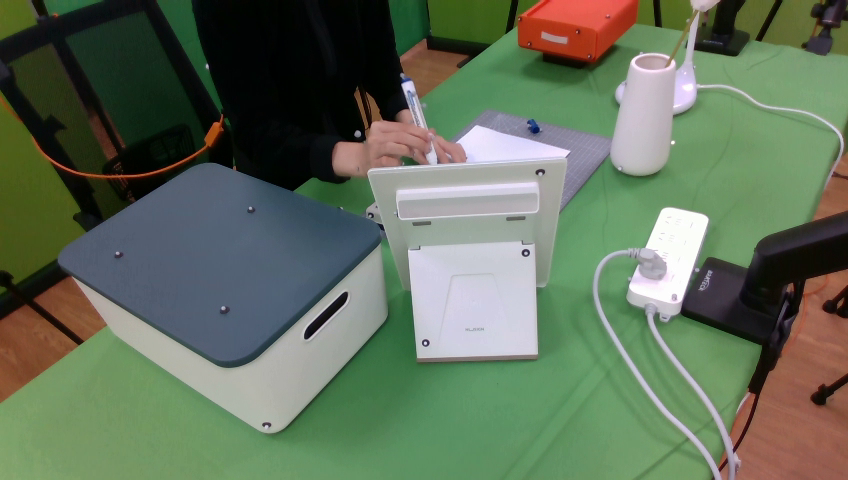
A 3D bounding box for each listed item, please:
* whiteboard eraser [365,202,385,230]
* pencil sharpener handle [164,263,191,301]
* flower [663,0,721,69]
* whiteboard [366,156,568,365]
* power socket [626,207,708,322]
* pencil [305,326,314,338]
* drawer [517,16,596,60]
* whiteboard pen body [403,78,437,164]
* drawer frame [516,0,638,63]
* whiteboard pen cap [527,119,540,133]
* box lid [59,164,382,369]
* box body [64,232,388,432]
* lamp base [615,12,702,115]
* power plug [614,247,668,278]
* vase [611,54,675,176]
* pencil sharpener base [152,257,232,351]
[{"bbox_3d":[-0.038,-0.038,1.006,0.112,0.042,0.055,16,47,25],"label":"whiteboard eraser"},{"bbox_3d":[-0.354,0.055,0.866,0.036,0.068,0.030,-17,39,-29],"label":"pencil sharpener handle"},{"bbox_3d":[0.379,-0.261,0.965,0.044,0.362,0.038,20,53,5],"label":"flower"},{"bbox_3d":[0.059,0.050,0.738,0.217,0.307,0.143,-2,60,6],"label":"whiteboard"},{"bbox_3d":[0.359,0.025,0.886,0.072,0.033,0.227,16,46,26],"label":"power socket"},{"bbox_3d":[-0.187,0.106,0.880,0.012,0.012,0.192,-27,41,-22],"label":"pencil"},{"bbox_3d":[0.353,-0.506,1.405,0.193,0.073,0.212,23,49,32],"label":"drawer"},{"bbox_3d":[-0.002,-0.152,0.824,0.017,0.141,0.017,-18,5,2],"label":"whiteboard pen body"},{"bbox_3d":[0.355,-0.508,1.410,0.200,0.083,0.214,23,51,32],"label":"drawer frame"},{"bbox_3d":[0.221,-0.229,1.212,0.018,0.018,0.033,-13,40,-7],"label":"whiteboard pen cap"},{"bbox_3d":[-0.263,0.010,0.777,0.368,0.015,0.264,20,47,29],"label":"box lid"},{"bbox_3d":[-0.256,0.065,0.827,0.361,0.161,0.255,20,48,29],"label":"box body"},{"bbox_3d":[0.484,-0.364,1.211,0.180,0.181,0.159,-15,41,-14],"label":"lamp base"},{"bbox_3d":[0.306,0.031,0.851,0.072,0.053,0.035,24,49,33],"label":"power plug"},{"bbox_3d":[0.377,-0.209,1.031,0.098,0.201,0.097,-3,40,3],"label":"vase"},{"bbox_3d":[-0.322,0.088,0.841,0.061,0.107,0.076,-27,44,-20],"label":"pencil sharpener base"}]
